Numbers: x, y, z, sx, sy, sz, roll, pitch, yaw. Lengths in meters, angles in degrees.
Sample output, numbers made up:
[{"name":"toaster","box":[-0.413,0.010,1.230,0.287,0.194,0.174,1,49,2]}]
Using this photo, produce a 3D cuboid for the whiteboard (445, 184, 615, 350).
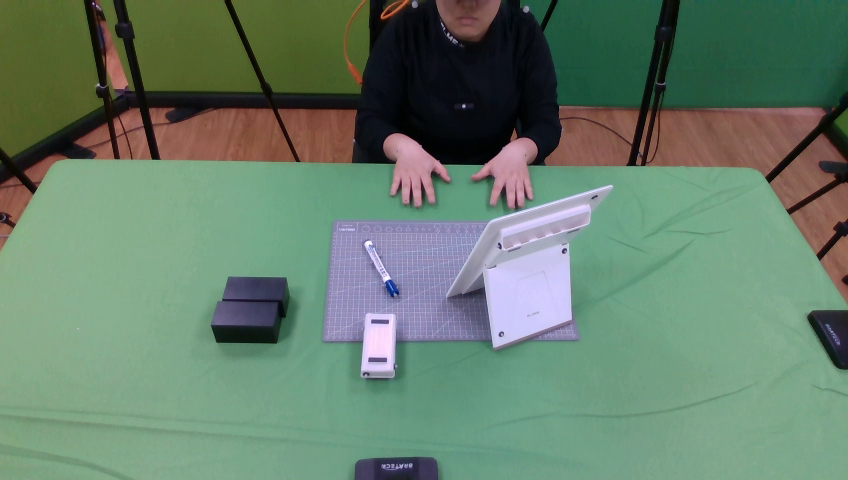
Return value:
[{"name":"whiteboard","box":[0.186,0.065,0.989,0.217,0.306,0.143,-15,68,-18]}]

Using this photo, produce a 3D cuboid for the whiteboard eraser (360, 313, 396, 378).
[{"name":"whiteboard eraser","box":[-0.075,0.176,1.006,0.055,0.042,0.112,3,50,-4]}]

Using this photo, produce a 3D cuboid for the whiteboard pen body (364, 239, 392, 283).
[{"name":"whiteboard pen body","box":[-0.084,0.048,1.143,0.017,0.017,0.140,-16,50,-19]}]

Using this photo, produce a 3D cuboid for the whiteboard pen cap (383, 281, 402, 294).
[{"name":"whiteboard pen cap","box":[-0.057,0.088,1.104,0.033,0.018,0.018,18,48,11]}]
